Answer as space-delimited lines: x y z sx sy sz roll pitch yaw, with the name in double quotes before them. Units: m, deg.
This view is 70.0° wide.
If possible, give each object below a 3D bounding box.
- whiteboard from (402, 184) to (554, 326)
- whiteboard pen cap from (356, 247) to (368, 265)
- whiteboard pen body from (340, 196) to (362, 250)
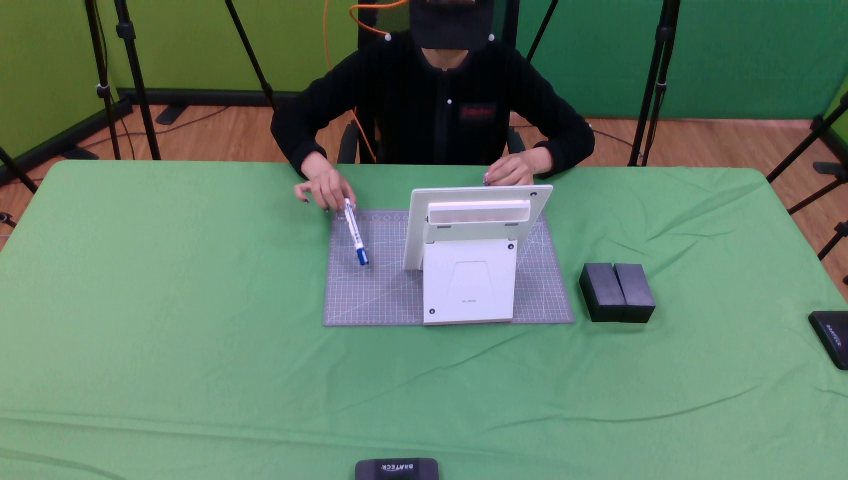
"whiteboard" 0.081 0.044 1.005 0.217 0.306 0.143 -1 66 -6
"whiteboard pen cap" -0.116 0.029 1.136 0.018 0.018 0.033 -14 67 -16
"whiteboard pen body" -0.136 -0.022 1.157 0.017 0.017 0.140 -13 69 -15
